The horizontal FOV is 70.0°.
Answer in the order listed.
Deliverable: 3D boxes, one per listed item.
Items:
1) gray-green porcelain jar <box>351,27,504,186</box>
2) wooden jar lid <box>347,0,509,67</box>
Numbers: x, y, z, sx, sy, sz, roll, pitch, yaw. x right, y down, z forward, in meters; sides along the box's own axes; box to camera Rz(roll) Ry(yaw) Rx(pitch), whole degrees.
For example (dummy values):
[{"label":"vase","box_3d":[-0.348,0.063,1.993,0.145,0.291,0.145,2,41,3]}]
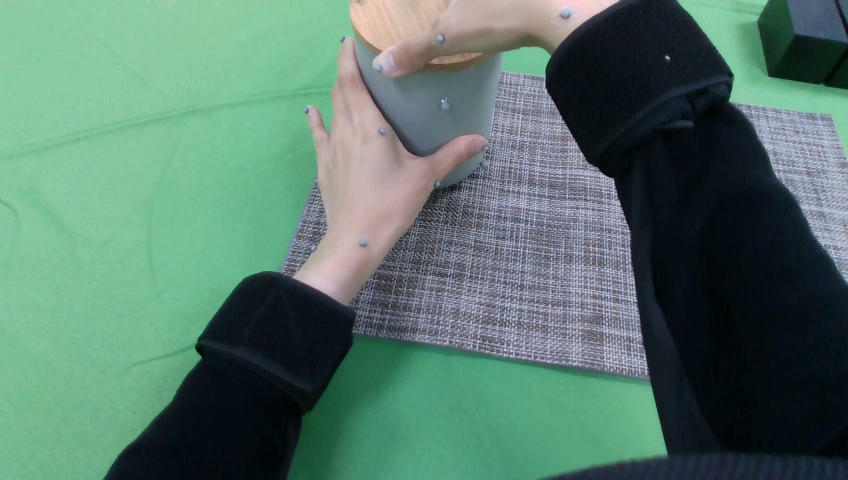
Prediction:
[{"label":"gray-green porcelain jar","box_3d":[0.000,-0.112,0.459,0.106,0.127,0.105,2,54,-2]},{"label":"wooden jar lid","box_3d":[0.003,-0.151,0.409,0.108,0.021,0.107,2,56,-2]}]
